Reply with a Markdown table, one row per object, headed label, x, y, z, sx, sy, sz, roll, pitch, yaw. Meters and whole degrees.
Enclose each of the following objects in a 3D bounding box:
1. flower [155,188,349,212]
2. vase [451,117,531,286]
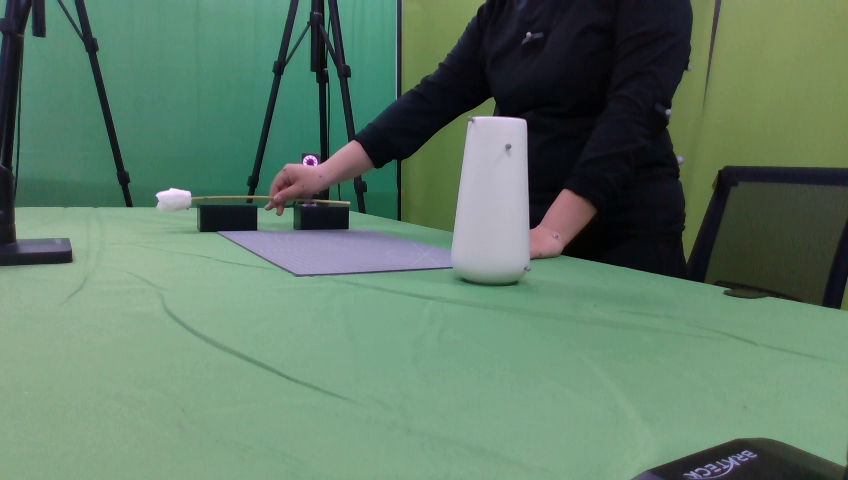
| label | x | y | z | sx | sy | sz | roll | pitch | yaw |
| --- | --- | --- | --- | --- | --- | --- | --- | --- | --- |
| flower | -0.316 | -0.086 | 1.157 | 0.363 | 0.038 | 0.044 | -6 | -31 | -25 |
| vase | 0.083 | -0.047 | 0.737 | 0.098 | 0.200 | 0.098 | 1 | 6 | 0 |
